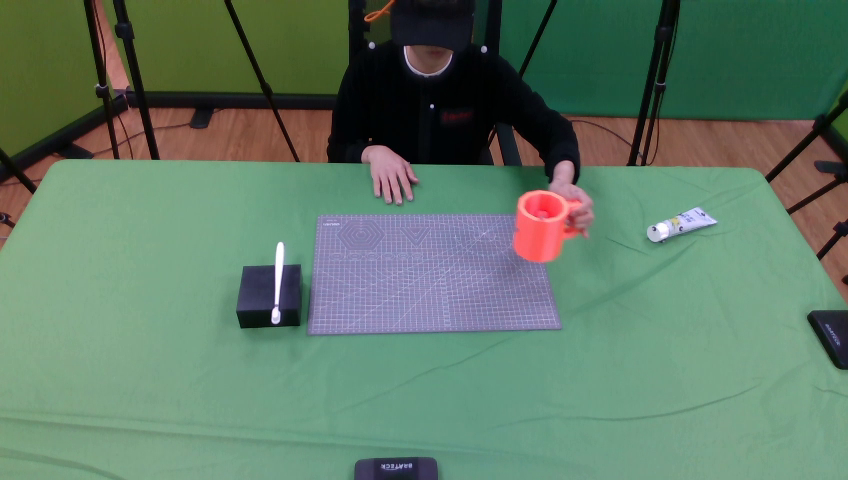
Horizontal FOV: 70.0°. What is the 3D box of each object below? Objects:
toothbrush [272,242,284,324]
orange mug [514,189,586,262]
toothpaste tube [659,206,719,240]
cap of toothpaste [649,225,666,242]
[{"bbox_3d":[-0.253,0.068,1.048,0.014,0.017,0.180,-5,46,-4],"label":"toothbrush"},{"bbox_3d":[0.222,-0.031,1.063,0.126,0.101,0.083,-15,44,-9],"label":"orange mug"},{"bbox_3d":[0.542,-0.035,1.259,0.165,0.034,0.054,-19,54,-26],"label":"toothpaste tube"},{"bbox_3d":[0.473,-0.015,1.226,0.011,0.037,0.037,-19,50,-26],"label":"cap of toothpaste"}]
